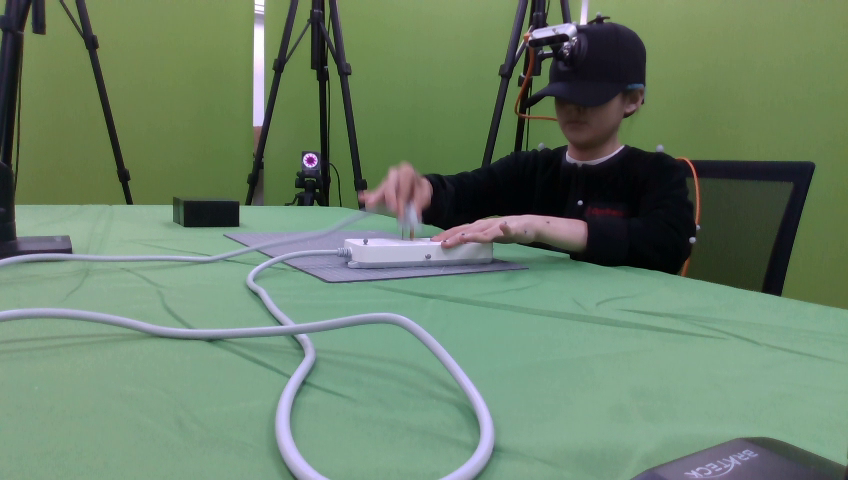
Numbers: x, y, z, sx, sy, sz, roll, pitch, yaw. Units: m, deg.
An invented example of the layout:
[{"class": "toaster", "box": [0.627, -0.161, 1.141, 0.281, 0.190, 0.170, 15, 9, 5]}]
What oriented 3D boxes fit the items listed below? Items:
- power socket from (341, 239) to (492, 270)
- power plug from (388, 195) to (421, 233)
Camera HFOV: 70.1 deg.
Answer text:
[{"class": "power socket", "box": [-0.007, 0.018, 0.831, 0.228, 0.032, 0.072, -1, 7, -29]}, {"class": "power plug", "box": [-0.027, -0.037, 0.844, 0.035, 0.052, 0.072, -1, 2, -14]}]
